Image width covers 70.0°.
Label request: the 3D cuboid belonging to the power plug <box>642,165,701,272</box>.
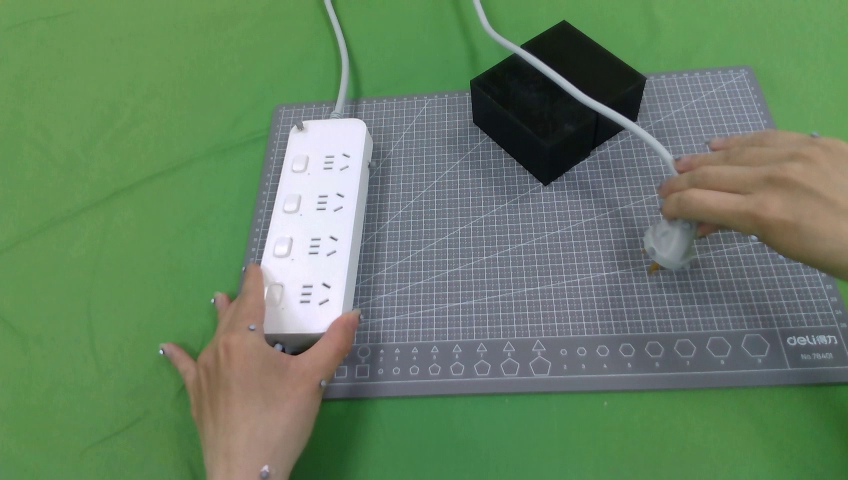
[{"bbox_3d":[0.182,-0.011,0.436,0.035,0.053,0.072,32,58,10],"label":"power plug"}]

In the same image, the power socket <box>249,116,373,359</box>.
[{"bbox_3d":[-0.087,-0.015,0.497,0.072,0.033,0.224,0,58,6],"label":"power socket"}]
